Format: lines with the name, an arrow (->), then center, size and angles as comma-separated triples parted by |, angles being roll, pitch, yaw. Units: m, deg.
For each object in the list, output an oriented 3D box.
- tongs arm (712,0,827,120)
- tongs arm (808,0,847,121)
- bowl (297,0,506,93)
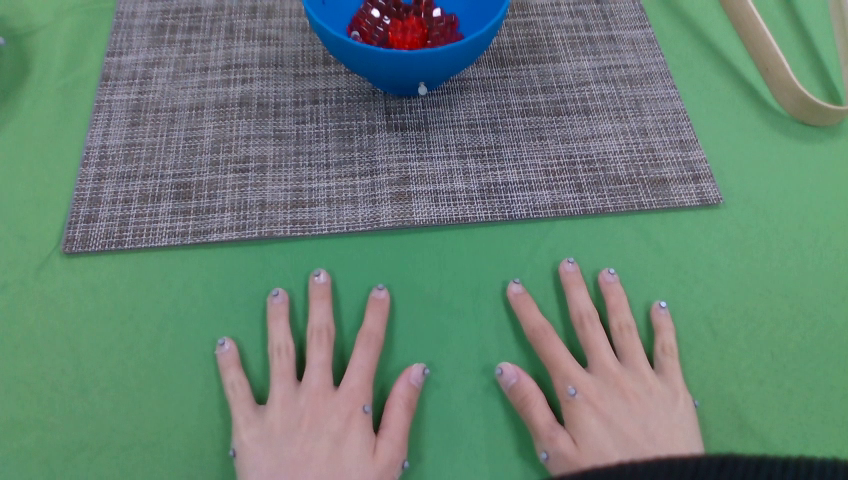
tongs arm -> 0.234, -0.270, 0.517 | 0.028, 0.028, 0.385 | -13, 73, -13
tongs arm -> 0.323, -0.278, 0.525 | 0.051, 0.026, 0.382 | 1, 72, -5
bowl -> -0.016, -0.166, 0.455 | 0.151, 0.077, 0.150 | 1, 60, -1
